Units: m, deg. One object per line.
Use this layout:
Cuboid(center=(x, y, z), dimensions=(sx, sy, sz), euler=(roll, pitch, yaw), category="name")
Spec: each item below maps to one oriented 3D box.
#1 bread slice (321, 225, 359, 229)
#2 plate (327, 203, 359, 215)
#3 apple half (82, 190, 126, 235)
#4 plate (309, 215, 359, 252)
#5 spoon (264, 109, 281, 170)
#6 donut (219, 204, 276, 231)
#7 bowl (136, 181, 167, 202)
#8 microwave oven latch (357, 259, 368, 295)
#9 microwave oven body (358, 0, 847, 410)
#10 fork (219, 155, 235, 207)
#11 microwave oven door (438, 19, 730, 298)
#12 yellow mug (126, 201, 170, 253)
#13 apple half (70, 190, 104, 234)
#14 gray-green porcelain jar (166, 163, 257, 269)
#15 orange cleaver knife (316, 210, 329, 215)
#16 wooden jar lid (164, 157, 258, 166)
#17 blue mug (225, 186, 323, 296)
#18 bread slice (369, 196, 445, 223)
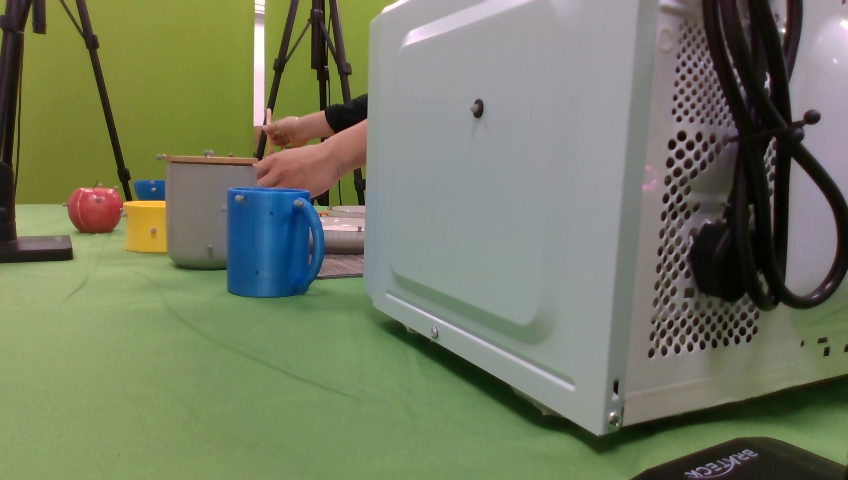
Cuboid(center=(-0.124, -0.009, 0.938), dimensions=(0.131, 0.019, 0.105), euler=(6, 9, 32), category="bread slice")
Cuboid(center=(-0.102, -0.053, 1.299), dimensions=(0.209, 0.038, 0.209), euler=(2, 8, 0), category="plate")
Cuboid(center=(-0.516, -0.046, 0.994), dimensions=(0.032, 0.081, 0.081), euler=(0, 6, 26), category="apple half")
Cuboid(center=(-0.130, -0.011, 0.945), dimensions=(0.208, 0.039, 0.207), euler=(2, 8, 0), category="plate")
Cuboid(center=(-0.386, -0.256, 1.530), dimensions=(0.041, 0.193, 0.022), euler=(-12, -23, 8), category="spoon")
Cuboid(center=(-0.316, -0.039, 1.083), dimensions=(0.099, 0.048, 0.099), euler=(3, 7, 0), category="donut")
Cuboid(center=(-0.497, -0.076, 1.221), dimensions=(0.151, 0.077, 0.151), euler=(2, 8, 0), category="bowl")
Cuboid(center=(-0.019, 0.031, 0.529), dimensions=(0.079, 0.029, 0.030), euler=(-1, 7, -26), category="microwave oven latch")
Cuboid(center=(0.210, -0.051, 0.471), dimensions=(0.444, 0.260, 0.324), euler=(-1, 7, -28), category="microwave oven body")
Cuboid(center=(-0.459, -0.134, 1.415), dimensions=(0.028, 0.018, 0.207), euler=(-1, -34, -24), category="fork")
Cuboid(center=(0.181, -0.076, 0.618), dimensions=(0.358, 0.243, 0.039), euler=(-2, 8, -28), category="microwave oven door")
Cuboid(center=(-0.361, -0.019, 0.865), dimensions=(0.130, 0.064, 0.100), euler=(6, 9, 27), category="yellow mug")
Cuboid(center=(-0.552, -0.047, 1.010), dimensions=(0.053, 0.074, 0.081), euler=(0, 10, 26), category="apple half")
Cuboid(center=(-0.263, -0.031, 0.754), dimensions=(0.106, 0.126, 0.106), euler=(2, 8, 0), category="gray-green porcelain jar")
Cuboid(center=(-0.259, -0.064, 1.423), dimensions=(0.212, 0.012, 0.077), euler=(-4, 3, -30), category="orange cleaver knife")
Cuboid(center=(-0.261, -0.093, 0.746), dimensions=(0.108, 0.020, 0.108), euler=(0, 9, 0), category="wooden jar lid")
Cuboid(center=(-0.148, 0.000, 0.618), dimensions=(0.116, 0.106, 0.083), euler=(7, 9, 33), category="blue mug")
Cuboid(center=(-0.040, -0.057, 1.142), dimensions=(0.107, 0.018, 0.133), euler=(-8, -8, -40), category="bread slice")
